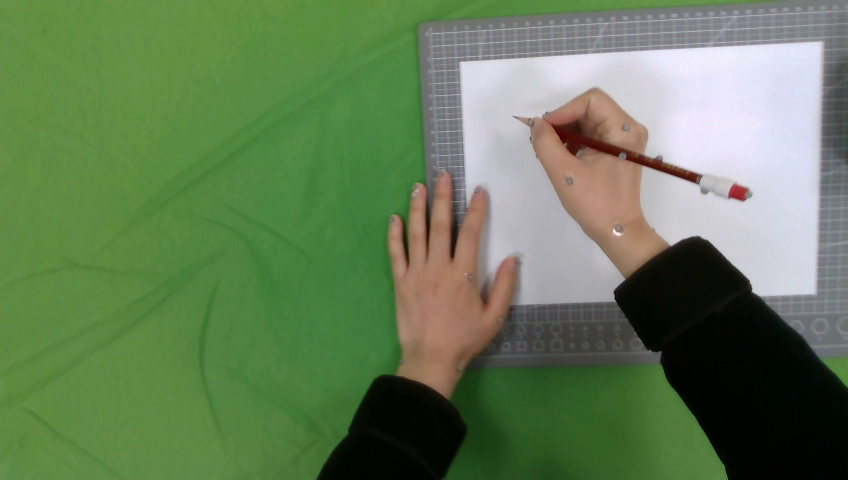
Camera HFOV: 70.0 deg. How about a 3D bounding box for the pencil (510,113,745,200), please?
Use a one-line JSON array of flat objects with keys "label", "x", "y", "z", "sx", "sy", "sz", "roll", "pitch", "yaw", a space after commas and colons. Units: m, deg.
[{"label": "pencil", "x": 0.131, "y": -0.065, "z": 0.429, "sx": 0.192, "sy": 0.012, "sz": 0.012, "roll": 32, "pitch": 101, "yaw": 41}]
